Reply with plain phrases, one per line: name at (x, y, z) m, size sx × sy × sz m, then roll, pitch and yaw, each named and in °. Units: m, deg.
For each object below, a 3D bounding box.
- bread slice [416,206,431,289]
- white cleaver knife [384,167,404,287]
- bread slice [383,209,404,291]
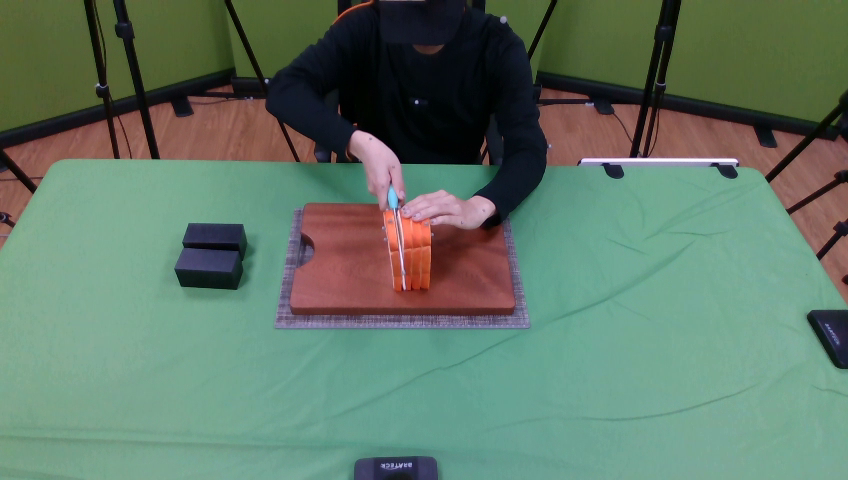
bread slice at (-0.001, 0.008, 1.072) m, size 0.018 × 0.135 × 0.106 m, roll -4°, pitch 47°, yaw -6°
white cleaver knife at (-0.055, -0.031, 1.087) m, size 0.021 × 0.066 × 0.284 m, roll -1°, pitch 44°, yaw -8°
bread slice at (-0.054, 0.011, 1.068) m, size 0.019 × 0.132 × 0.104 m, roll -10°, pitch 46°, yaw -4°
